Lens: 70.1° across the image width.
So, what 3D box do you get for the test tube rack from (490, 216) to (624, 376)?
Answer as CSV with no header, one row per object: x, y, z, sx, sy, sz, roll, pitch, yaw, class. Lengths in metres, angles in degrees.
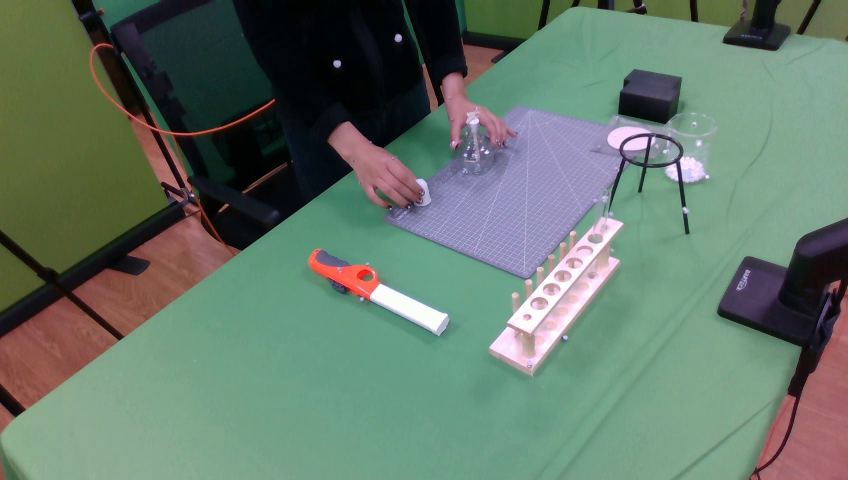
0.184,0.064,0.822,0.066,0.085,0.243,24,50,33,test tube rack

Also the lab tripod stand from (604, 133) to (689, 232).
0.347,-0.086,0.932,0.148,0.132,0.147,-4,40,4,lab tripod stand

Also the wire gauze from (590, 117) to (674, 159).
0.393,-0.192,1.139,0.120,0.011,0.125,19,47,28,wire gauze

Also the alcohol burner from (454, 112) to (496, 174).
0.092,-0.182,1.102,0.078,0.119,0.077,-5,42,5,alcohol burner

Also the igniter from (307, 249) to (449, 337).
-0.079,0.073,0.905,0.274,0.025,0.057,24,61,33,igniter

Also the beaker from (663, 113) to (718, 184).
0.442,-0.151,1.018,0.084,0.101,0.074,-1,40,11,beaker

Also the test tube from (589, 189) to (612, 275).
0.238,-0.007,0.818,0.017,0.151,0.017,-3,43,4,test tube

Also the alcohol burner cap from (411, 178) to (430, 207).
-0.009,-0.086,1.063,0.034,0.048,0.033,-4,41,4,alcohol burner cap
